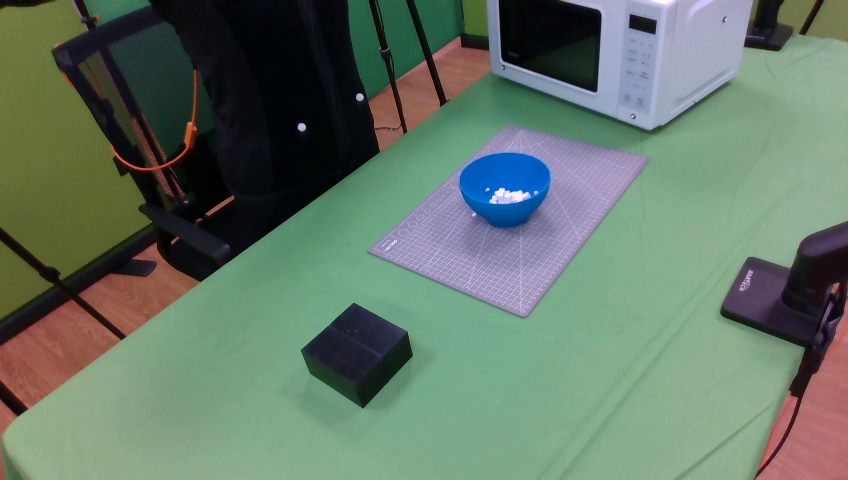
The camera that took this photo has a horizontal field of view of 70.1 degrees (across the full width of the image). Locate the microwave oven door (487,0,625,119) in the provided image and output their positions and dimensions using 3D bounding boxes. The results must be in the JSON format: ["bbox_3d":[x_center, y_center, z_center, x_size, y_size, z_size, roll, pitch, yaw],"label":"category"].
[{"bbox_3d":[0.262,-0.409,1.221,0.039,0.245,0.352,-33,45,-25],"label":"microwave oven door"}]

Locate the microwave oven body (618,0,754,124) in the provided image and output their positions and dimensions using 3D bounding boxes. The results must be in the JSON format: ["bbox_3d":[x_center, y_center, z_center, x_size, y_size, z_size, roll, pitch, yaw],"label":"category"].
[{"bbox_3d":[0.402,-0.458,1.260,0.327,0.261,0.437,-33,45,-24],"label":"microwave oven body"}]

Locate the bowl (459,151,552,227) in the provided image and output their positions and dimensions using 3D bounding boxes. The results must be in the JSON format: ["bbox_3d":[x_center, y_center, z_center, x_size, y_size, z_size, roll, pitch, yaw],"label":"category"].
[{"bbox_3d":[0.136,-0.074,1.000,0.151,0.077,0.150,-5,40,5],"label":"bowl"}]

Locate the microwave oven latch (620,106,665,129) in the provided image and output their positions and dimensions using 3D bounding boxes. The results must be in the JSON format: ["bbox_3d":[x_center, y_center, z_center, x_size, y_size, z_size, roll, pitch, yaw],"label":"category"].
[{"bbox_3d":[0.412,-0.237,1.146,0.030,0.029,0.078,-32,44,-24],"label":"microwave oven latch"}]
